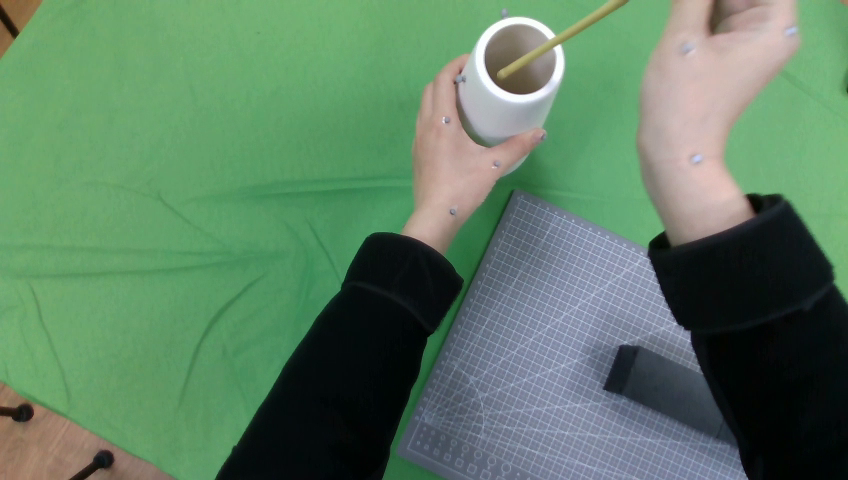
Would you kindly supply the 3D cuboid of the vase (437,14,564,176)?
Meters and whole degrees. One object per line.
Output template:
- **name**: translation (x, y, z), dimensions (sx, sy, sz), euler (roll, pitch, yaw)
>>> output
- **vase**: translation (0.067, -0.125, 0.551), dimensions (0.098, 0.200, 0.098), euler (1, 81, -5)

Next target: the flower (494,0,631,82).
- **flower**: translation (0.137, -0.149, 0.326), dimensions (0.038, 0.360, 0.044), euler (13, 77, -25)
